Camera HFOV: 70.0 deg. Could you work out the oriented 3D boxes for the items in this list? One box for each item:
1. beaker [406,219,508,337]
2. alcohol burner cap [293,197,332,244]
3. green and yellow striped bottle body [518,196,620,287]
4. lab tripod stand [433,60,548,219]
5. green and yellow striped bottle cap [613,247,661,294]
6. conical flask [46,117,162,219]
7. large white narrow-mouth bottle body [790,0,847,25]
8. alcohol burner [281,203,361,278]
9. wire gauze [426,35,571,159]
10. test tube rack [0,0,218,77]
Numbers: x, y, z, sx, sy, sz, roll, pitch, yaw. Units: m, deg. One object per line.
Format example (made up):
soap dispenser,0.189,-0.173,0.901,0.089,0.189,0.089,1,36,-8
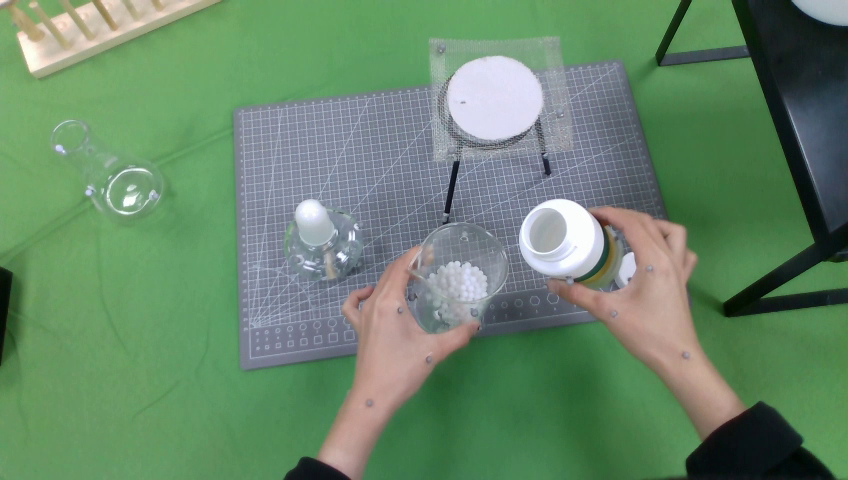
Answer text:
beaker,0.022,0.039,0.529,0.084,0.101,0.073,-5,63,-11
alcohol burner cap,-0.103,-0.020,0.544,0.034,0.048,0.033,1,63,-1
green and yellow striped bottle body,0.120,0.002,0.507,0.063,0.120,0.063,-7,76,29
lab tripod stand,0.059,-0.102,0.598,0.148,0.132,0.147,0,68,0
green and yellow striped bottle cap,0.214,0.030,0.609,0.045,0.020,0.045,-1,69,4
conical flask,-0.323,-0.076,0.607,0.075,0.122,0.075,-1,69,2
large white narrow-mouth bottle body,0.345,-0.253,0.425,0.102,0.196,0.101,0,68,1
alcohol burner,-0.101,-0.006,0.578,0.078,0.120,0.077,0,68,0
wire gauze,0.064,-0.130,0.536,0.121,0.011,0.124,-2,70,-1
test tube rack,-0.371,-0.287,0.704,0.242,0.086,0.066,-27,72,-8
